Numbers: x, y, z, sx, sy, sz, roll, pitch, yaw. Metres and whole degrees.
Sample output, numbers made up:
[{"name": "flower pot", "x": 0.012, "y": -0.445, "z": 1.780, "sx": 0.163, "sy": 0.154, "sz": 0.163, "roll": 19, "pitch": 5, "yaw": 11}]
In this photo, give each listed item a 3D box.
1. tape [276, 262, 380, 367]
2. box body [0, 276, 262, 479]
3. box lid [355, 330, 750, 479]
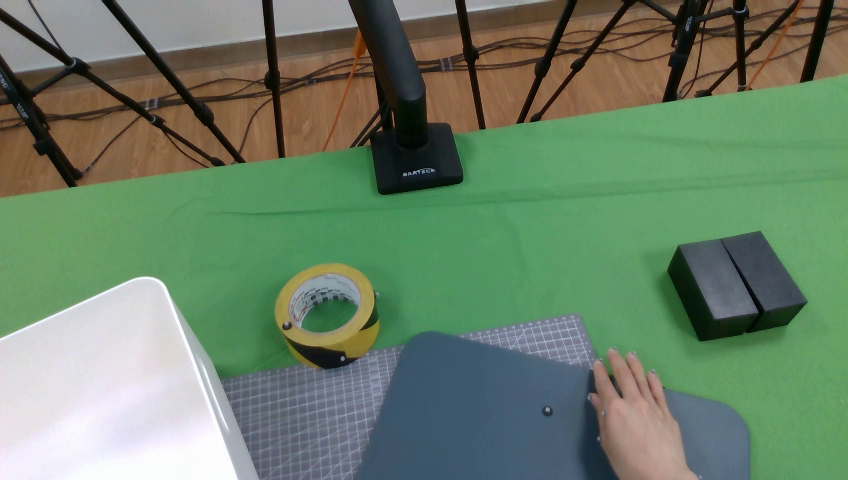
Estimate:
[{"name": "tape", "x": -0.109, "y": 0.083, "z": 0.690, "sx": 0.117, "sy": 0.053, "sz": 0.115, "roll": -1, "pitch": 51, "yaw": 2}, {"name": "box body", "x": -0.338, "y": 0.233, "z": 0.521, "sx": 0.364, "sy": 0.162, "sz": 0.251, "roll": -26, "pitch": 57, "yaw": -15}, {"name": "box lid", "x": 0.124, "y": 0.237, "z": 0.589, "sx": 0.370, "sy": 0.015, "sz": 0.261, "roll": 12, "pitch": 55, "yaw": 12}]
